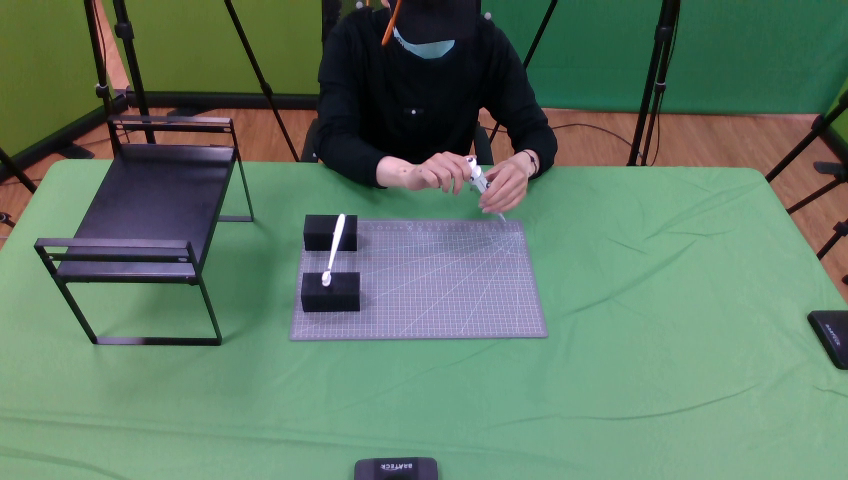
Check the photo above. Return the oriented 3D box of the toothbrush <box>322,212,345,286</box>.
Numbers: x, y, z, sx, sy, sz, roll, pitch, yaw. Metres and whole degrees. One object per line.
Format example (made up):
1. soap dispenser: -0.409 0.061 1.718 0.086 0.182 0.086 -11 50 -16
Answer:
1. toothbrush: -0.164 0.011 1.101 0.014 0.017 0.181 -6 44 12

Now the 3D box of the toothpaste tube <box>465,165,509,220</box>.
1. toothpaste tube: 0.120 -0.094 1.172 0.034 0.166 0.054 -41 47 1

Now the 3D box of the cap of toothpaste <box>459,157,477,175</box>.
1. cap of toothpaste: 0.083 -0.137 1.117 0.037 0.011 0.037 -17 50 22
